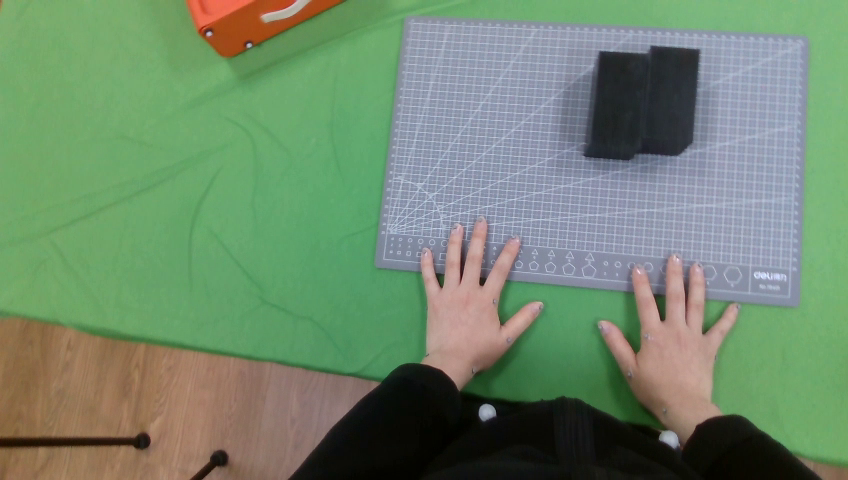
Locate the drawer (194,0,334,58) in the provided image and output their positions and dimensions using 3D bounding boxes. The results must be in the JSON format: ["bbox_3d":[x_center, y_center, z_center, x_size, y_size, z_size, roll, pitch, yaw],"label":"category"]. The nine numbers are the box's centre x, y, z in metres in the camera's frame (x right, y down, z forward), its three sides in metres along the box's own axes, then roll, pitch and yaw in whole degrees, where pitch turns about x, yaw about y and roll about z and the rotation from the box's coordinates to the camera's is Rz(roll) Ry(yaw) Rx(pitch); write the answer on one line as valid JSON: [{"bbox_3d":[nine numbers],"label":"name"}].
[{"bbox_3d":[-0.205,-0.351,0.709,0.194,0.073,0.210,-27,79,2],"label":"drawer"}]

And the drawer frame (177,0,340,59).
[{"bbox_3d":[-0.206,-0.354,0.705,0.201,0.083,0.212,-27,80,2],"label":"drawer frame"}]

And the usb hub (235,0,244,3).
[{"bbox_3d":[-0.180,-0.331,0.712,0.125,0.025,0.049,-21,94,11],"label":"usb hub"}]
